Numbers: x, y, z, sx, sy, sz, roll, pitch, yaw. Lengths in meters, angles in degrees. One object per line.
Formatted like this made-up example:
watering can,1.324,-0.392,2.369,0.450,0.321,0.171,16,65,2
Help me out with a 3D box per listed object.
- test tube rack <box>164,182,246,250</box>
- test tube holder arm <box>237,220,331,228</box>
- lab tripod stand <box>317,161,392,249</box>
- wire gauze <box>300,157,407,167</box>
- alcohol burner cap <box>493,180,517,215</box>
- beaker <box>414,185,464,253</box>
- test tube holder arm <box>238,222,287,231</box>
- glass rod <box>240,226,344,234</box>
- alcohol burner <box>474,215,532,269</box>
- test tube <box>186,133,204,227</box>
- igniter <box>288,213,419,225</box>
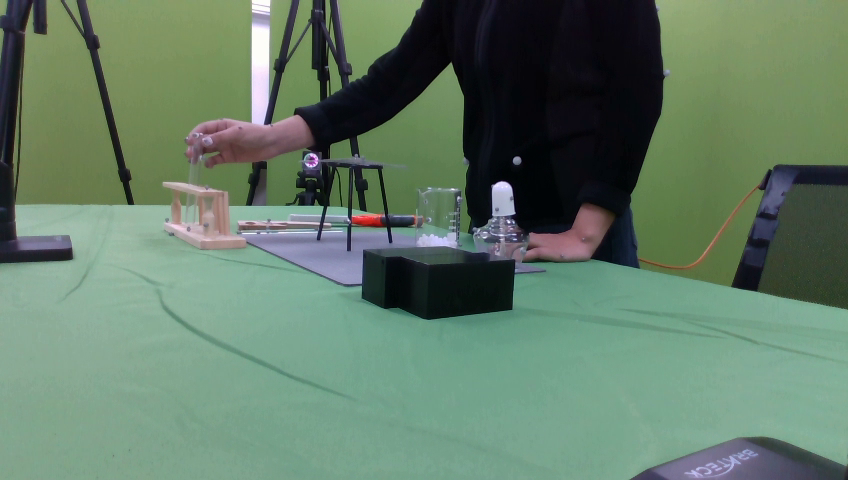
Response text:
test tube rack,-0.361,-0.044,0.982,0.067,0.085,0.241,-3,9,-34
test tube holder arm,-0.261,-0.029,1.141,0.179,0.015,0.013,-2,43,-33
lab tripod stand,-0.111,-0.059,0.963,0.148,0.131,0.148,4,8,0
wire gauze,-0.112,-0.125,0.957,0.121,0.011,0.126,11,11,42
alcohol burner cap,0.107,-0.057,0.812,0.034,0.048,0.034,-6,11,2
beaker,0.020,-0.033,0.938,0.073,0.100,0.084,7,9,35
test tube holder arm,-0.297,-0.024,1.113,0.088,0.015,0.010,-1,42,-32
glass rod,-0.239,-0.019,1.119,0.201,0.008,0.008,-3,9,-34
alcohol burner,0.107,-0.022,0.819,0.078,0.119,0.078,1,9,0
test tube,-0.363,-0.095,0.958,0.017,0.150,0.017,8,5,0
igniter,-0.145,-0.044,1.278,0.278,0.025,0.057,-1,-2,-21
